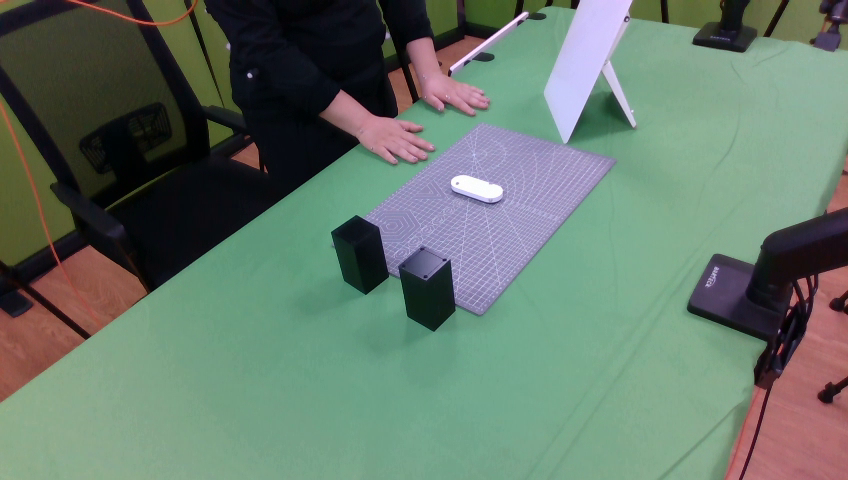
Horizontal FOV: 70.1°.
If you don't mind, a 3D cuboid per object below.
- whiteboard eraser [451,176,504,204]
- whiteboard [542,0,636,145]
[{"bbox_3d":[0.093,-0.089,1.059,0.100,0.019,0.041,21,48,30],"label":"whiteboard eraser"},{"bbox_3d":[0.365,-0.351,1.160,0.144,0.305,0.216,9,39,-10],"label":"whiteboard"}]
